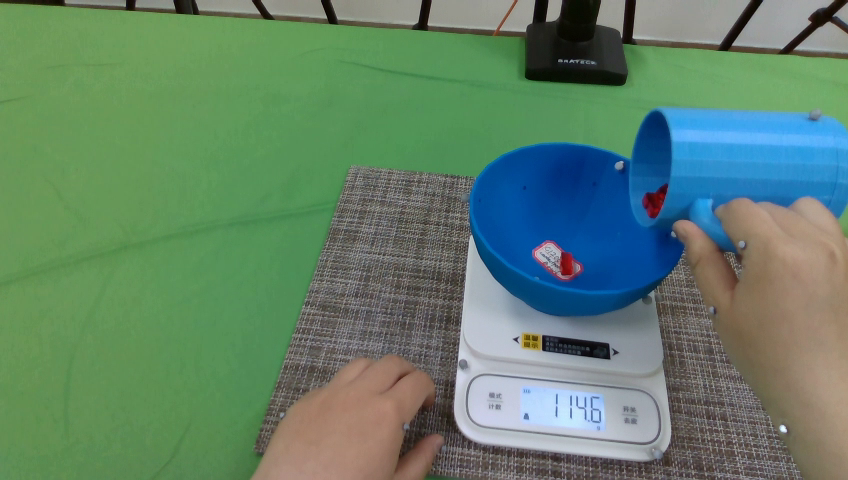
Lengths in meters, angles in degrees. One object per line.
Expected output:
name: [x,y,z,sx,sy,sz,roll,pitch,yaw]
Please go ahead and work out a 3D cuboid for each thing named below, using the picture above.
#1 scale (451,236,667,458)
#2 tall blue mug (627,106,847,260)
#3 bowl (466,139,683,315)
scale: [0.102,0.062,0.467,0.148,0.032,0.199,5,48,4]
tall blue mug: [0.195,-0.039,0.371,0.108,0.078,0.106,2,16,-1]
bowl: [0.103,0.003,0.448,0.151,0.077,0.150,1,48,-1]
